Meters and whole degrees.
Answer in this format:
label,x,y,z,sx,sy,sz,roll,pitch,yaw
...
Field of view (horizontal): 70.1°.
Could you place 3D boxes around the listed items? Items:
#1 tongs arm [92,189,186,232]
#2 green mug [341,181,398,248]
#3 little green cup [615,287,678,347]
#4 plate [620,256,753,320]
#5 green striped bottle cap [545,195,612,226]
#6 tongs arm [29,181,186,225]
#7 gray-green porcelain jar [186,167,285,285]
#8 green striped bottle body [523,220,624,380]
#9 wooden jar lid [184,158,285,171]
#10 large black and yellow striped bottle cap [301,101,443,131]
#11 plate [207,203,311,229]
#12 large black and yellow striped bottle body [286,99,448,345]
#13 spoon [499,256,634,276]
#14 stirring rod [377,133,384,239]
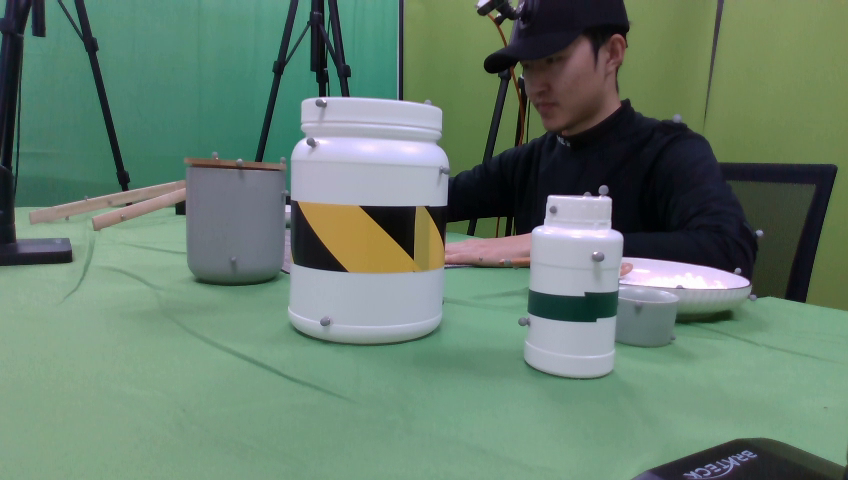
label,x,y,z,sx,sy,sz,roll,pitch,yaw
tongs arm,-0.534,-0.076,1.221,0.028,0.028,0.388,-2,15,12
green mug,-0.089,-0.043,0.997,0.093,0.105,0.125,1,6,-8
little green cup,0.180,0.064,0.506,0.061,0.038,0.061,1,9,0
plate,0.234,0.049,0.651,0.209,0.038,0.209,2,7,0
green striped bottle cap,0.106,-0.020,0.414,0.044,0.020,0.044,2,4,0
tongs arm,-0.609,-0.083,1.245,0.050,0.026,0.386,5,16,23
gray-green porcelain jar,-0.212,-0.017,0.682,0.106,0.126,0.106,2,7,0
green striped bottle body,0.104,0.031,0.422,0.063,0.119,0.063,2,8,0
wooden jar lid,-0.210,-0.078,0.674,0.108,0.020,0.108,5,6,0
large black and yellow striped bottle cap,-0.042,-0.100,0.491,0.115,0.019,0.115,1,8,0
plate,-0.342,-0.050,1.259,0.208,0.039,0.207,3,7,0
large black and yellow striped bottle body,-0.047,-0.018,0.501,0.131,0.184,0.130,2,7,0
spoon,0.162,0.027,0.679,0.195,0.021,0.041,8,3,-30
stirring rod,-0.071,-0.087,0.992,0.006,0.176,0.014,-6,15,-31
